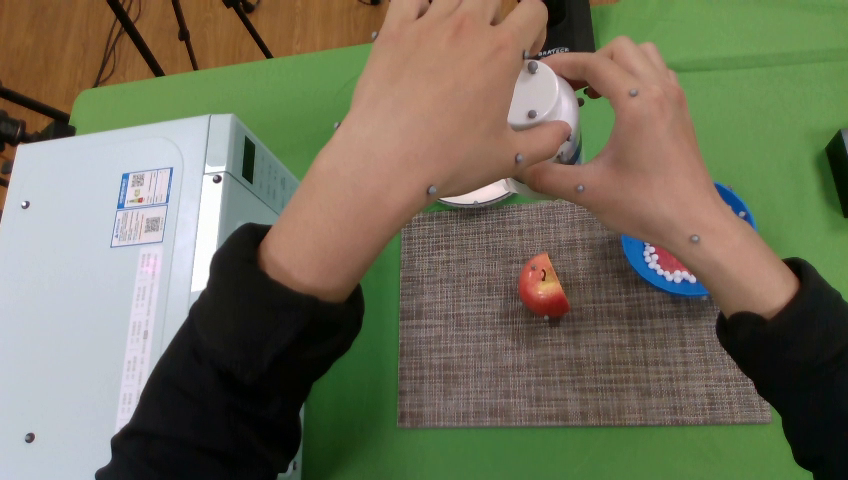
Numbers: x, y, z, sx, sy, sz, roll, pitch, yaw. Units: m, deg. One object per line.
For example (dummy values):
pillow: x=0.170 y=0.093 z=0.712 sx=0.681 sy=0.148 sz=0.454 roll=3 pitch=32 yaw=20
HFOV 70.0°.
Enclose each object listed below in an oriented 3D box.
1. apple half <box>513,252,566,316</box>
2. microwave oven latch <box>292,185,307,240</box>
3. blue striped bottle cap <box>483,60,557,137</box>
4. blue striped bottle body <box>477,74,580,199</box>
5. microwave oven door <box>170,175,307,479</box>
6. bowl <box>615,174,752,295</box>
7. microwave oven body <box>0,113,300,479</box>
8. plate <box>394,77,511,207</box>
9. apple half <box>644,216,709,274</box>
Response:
apple half: x=0.142 y=0.062 z=0.773 sx=0.053 sy=0.075 sz=0.080 roll=-24 pitch=71 yaw=8
microwave oven latch: x=-0.189 y=-0.039 z=0.891 sx=0.030 sy=0.030 sz=0.078 roll=-6 pitch=70 yaw=11
blue striped bottle cap: x=0.059 y=-0.087 z=0.374 sx=0.044 sy=0.021 sz=0.044 roll=-4 pitch=76 yaw=14
blue striped bottle body: x=0.075 y=-0.075 z=0.425 sx=0.063 sy=0.122 sz=0.063 roll=-4 pitch=76 yaw=17
microwave oven door: x=-0.207 y=0.132 z=0.725 sx=0.039 sy=0.246 sz=0.353 roll=-6 pitch=70 yaw=12
bowl: x=0.313 y=0.003 z=0.750 sx=0.151 sy=0.077 sz=0.150 roll=-5 pitch=70 yaw=13
microwave oven body: x=-0.350 y=0.110 z=0.772 sx=0.325 sy=0.262 sz=0.438 roll=-6 pitch=70 yaw=11
plate: x=0.061 y=-0.140 z=0.888 sx=0.207 sy=0.039 sz=0.206 roll=-4 pitch=70 yaw=12
apple half: x=0.313 y=0.002 z=0.745 sx=0.081 sy=0.033 sz=0.080 roll=-5 pitch=68 yaw=12
